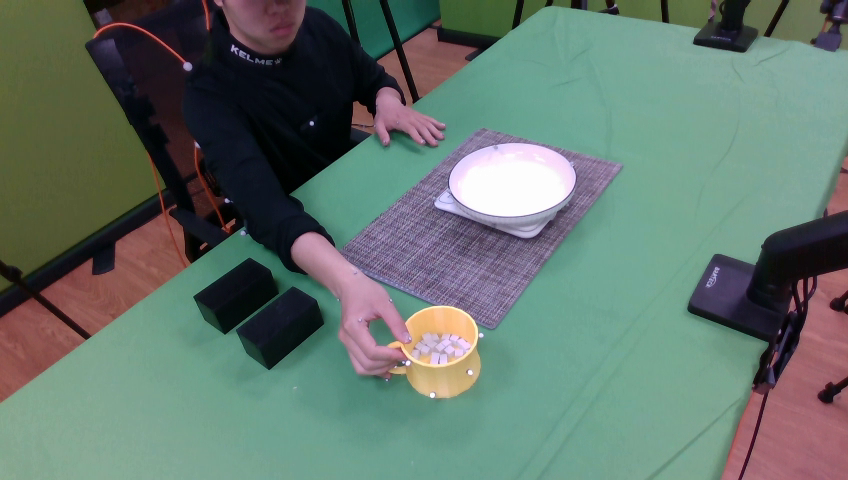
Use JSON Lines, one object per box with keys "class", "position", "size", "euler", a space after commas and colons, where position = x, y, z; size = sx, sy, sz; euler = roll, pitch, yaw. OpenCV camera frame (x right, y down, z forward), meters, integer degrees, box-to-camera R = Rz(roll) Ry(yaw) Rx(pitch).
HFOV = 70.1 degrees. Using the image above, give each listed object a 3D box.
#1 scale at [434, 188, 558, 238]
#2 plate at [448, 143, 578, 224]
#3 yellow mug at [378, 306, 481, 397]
{"class": "scale", "position": [0.132, -0.075, 1.025], "size": [0.199, 0.032, 0.149], "euler": [22, 48, 30]}
{"class": "plate", "position": [0.145, -0.089, 0.989], "size": [0.209, 0.038, 0.208], "euler": [-4, 41, 4]}
{"class": "yellow mug", "position": [0.006, 0.144, 0.767], "size": [0.131, 0.064, 0.099], "euler": [-10, 40, -1]}
